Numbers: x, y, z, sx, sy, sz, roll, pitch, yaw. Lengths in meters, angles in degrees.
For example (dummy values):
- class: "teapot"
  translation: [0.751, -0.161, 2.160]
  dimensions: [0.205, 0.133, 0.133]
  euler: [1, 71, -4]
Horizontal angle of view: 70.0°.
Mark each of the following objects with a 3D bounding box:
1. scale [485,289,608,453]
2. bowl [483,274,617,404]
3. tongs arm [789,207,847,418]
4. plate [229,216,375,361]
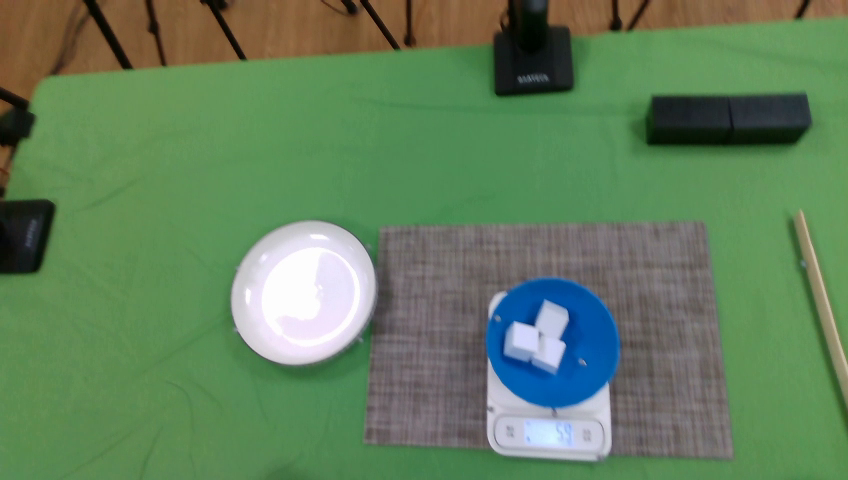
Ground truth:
- class: "scale"
  translation: [0.153, 0.160, 0.765]
  dimensions: [0.148, 0.032, 0.199]
  euler: [0, 70, 9]
- class: "bowl"
  translation: [0.147, 0.123, 0.722]
  dimensions: [0.151, 0.077, 0.150]
  euler: [-2, 69, 6]
- class: "tongs arm"
  translation: [0.505, 0.138, 0.730]
  dimensions: [0.028, 0.028, 0.384]
  euler: [-7, 68, 5]
- class: "plate"
  translation: [-0.168, 0.069, 0.848]
  dimensions: [0.207, 0.039, 0.206]
  euler: [-3, 69, 7]
